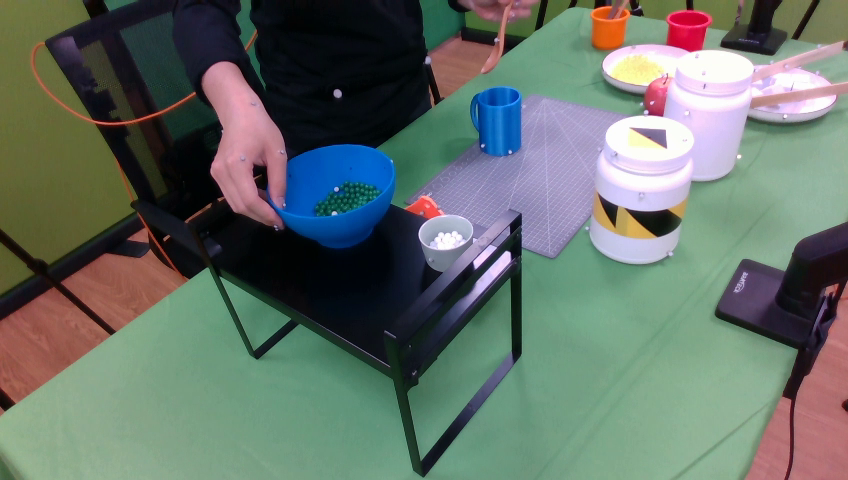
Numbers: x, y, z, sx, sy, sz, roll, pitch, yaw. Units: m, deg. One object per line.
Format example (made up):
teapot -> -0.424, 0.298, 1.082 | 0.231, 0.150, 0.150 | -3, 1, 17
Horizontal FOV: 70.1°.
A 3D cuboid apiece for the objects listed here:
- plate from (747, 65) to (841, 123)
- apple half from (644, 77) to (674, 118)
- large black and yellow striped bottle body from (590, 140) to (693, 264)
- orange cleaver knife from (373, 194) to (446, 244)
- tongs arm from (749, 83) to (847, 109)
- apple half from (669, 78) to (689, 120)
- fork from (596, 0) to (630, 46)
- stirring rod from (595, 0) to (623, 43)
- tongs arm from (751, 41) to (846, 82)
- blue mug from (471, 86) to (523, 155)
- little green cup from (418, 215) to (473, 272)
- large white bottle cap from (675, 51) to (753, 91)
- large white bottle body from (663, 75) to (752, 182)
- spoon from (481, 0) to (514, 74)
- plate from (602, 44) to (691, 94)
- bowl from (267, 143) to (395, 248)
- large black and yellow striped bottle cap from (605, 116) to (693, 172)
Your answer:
plate -> 0.694, -0.283, 1.189 | 0.207, 0.039, 0.206 | -4, 40, 4
apple half -> 0.463, -0.279, 1.194 | 0.053, 0.075, 0.081 | 8, 46, 24
large black and yellow striped bottle body -> 0.317, -0.071, 0.889 | 0.131, 0.185, 0.130 | -4, 41, 4
orange cleaver knife -> -0.032, -0.026, 0.964 | 0.210, 0.077, 0.012 | -10, 29, 51
tongs arm -> 0.734, -0.280, 1.134 | 0.388, 0.028, 0.028 | -9, 47, -5
apple half -> 0.498, -0.273, 1.180 | 0.032, 0.082, 0.081 | 7, 42, 25
fork -> 0.481, -0.556, 1.452 | 0.028, 0.019, 0.207 | 40, 103, 40
stirring rod -> 0.460, -0.556, 1.460 | 0.014, 0.006, 0.176 | 30, 93, 23
tongs arm -> 0.708, -0.331, 1.194 | 0.386, 0.026, 0.050 | -18, 45, -16
blue mug -> 0.135, -0.235, 1.163 | 0.082, 0.106, 0.115 | -36, 48, -28
little green cup -> 0.026, 0.005, 0.678 | 0.061, 0.039, 0.061 | -4, 40, 4
large white bottle cap -> 0.463, -0.271, 0.967 | 0.115, 0.018, 0.114 | -4, 40, 3
large white bottle body -> 0.472, -0.207, 1.022 | 0.130, 0.185, 0.130 | -4, 41, 4
spoon -> 0.135, -0.361, 0.977 | 0.022, 0.193, 0.041 | 14, 14, -16
plate -> 0.494, -0.367, 1.317 | 0.209, 0.038, 0.208 | -4, 40, 4
bowl -> -0.104, -0.043, 0.726 | 0.151, 0.077, 0.150 | -4, 41, 4
large black and yellow striped bottle cap -> 0.309, -0.134, 0.833 | 0.115, 0.019, 0.114 | -5, 40, 5
